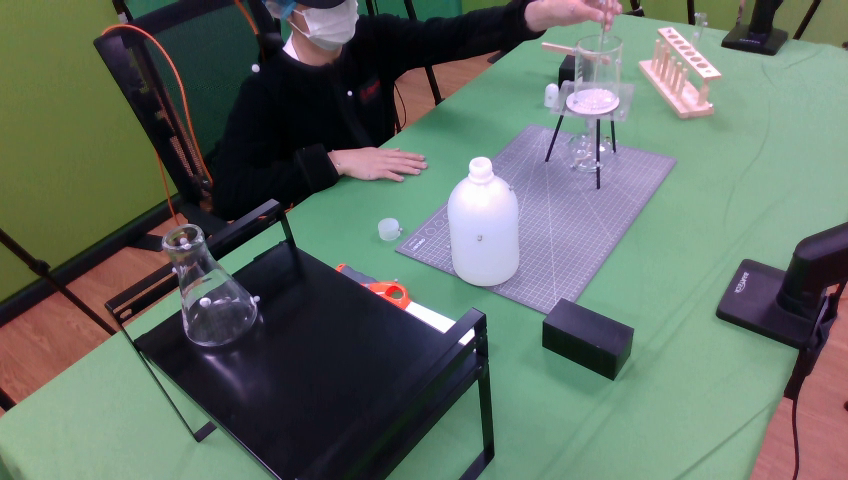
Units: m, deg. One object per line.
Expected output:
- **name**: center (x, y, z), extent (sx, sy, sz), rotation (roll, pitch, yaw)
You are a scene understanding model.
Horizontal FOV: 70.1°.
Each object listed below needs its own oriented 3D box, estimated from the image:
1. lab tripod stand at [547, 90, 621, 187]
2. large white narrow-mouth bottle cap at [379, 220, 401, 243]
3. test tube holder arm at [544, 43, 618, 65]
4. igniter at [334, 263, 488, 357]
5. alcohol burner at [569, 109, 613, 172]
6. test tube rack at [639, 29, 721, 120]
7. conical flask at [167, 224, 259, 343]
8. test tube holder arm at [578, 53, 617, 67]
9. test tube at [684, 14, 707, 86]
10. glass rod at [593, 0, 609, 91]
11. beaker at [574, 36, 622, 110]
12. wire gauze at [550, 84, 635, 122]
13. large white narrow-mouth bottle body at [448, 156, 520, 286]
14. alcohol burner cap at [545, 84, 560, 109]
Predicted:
- **lab tripod stand**: center (0.289, -0.184, 1.062), extent (0.148, 0.132, 0.147), rotation (-6, 41, 6)
- **large white narrow-mouth bottle cap**: center (-0.057, -0.015, 1.011), extent (0.038, 0.024, 0.037), rotation (-4, 40, 4)
- **test tube holder arm**: center (0.345, -0.413, 1.341), extent (0.177, 0.015, 0.013), rotation (26, 49, 32)
- **igniter**: center (-0.030, 0.095, 0.872), extent (0.274, 0.025, 0.057), rotation (23, 60, 31)
- **alcohol burner**: center (0.297, -0.181, 1.073), extent (0.078, 0.119, 0.077), rotation (-5, 43, 5)
- **test tube rack**: center (0.527, -0.351, 1.262), extent (0.067, 0.085, 0.241), rotation (-8, 40, 1)
- **conical flask**: center (-0.220, 0.041, 0.613), extent (0.075, 0.122, 0.075), rotation (-5, 40, 4)
- **test tube holder arm**: center (0.376, -0.394, 1.314), extent (0.087, 0.015, 0.010), rotation (26, 49, 32)
- **test tube**: center (0.541, -0.379, 1.216), extent (0.017, 0.151, 0.017), rotation (-2, 44, 3)
- **glass rod**: center (0.285, -0.328, 0.969), extent (0.008, 0.200, 0.008), rotation (-3, 45, 3)
- **beaker**: center (0.285, -0.273, 0.990), extent (0.073, 0.101, 0.084), rotation (15, 46, 28)
- **wire gauze**: center (0.285, -0.234, 1.021), extent (0.124, 0.011, 0.121), rotation (8, 41, 24)
- **large white narrow-mouth bottle body**: center (0.086, -0.032, 0.869), extent (0.102, 0.195, 0.101), rotation (-4, 40, 4)
- **alcohol burner cap**: center (0.274, -0.307, 1.285), extent (0.034, 0.048, 0.033), rotation (-5, 42, 5)
